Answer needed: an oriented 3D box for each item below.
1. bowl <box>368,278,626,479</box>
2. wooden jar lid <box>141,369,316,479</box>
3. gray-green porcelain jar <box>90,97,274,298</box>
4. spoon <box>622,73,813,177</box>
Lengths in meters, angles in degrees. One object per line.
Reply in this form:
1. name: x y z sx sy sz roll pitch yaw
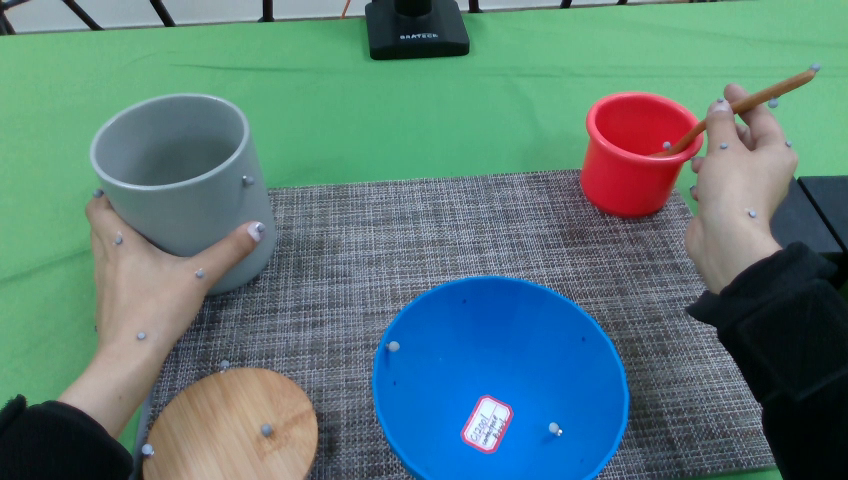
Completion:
1. bowl: 0.042 0.106 0.382 0.151 0.077 0.150 1 48 -1
2. wooden jar lid: -0.123 0.135 0.391 0.108 0.021 0.107 0 47 0
3. gray-green porcelain jar: -0.174 -0.026 0.462 0.106 0.127 0.105 1 48 -1
4. spoon: 0.225 -0.087 0.488 0.041 0.194 0.021 -30 85 -21
